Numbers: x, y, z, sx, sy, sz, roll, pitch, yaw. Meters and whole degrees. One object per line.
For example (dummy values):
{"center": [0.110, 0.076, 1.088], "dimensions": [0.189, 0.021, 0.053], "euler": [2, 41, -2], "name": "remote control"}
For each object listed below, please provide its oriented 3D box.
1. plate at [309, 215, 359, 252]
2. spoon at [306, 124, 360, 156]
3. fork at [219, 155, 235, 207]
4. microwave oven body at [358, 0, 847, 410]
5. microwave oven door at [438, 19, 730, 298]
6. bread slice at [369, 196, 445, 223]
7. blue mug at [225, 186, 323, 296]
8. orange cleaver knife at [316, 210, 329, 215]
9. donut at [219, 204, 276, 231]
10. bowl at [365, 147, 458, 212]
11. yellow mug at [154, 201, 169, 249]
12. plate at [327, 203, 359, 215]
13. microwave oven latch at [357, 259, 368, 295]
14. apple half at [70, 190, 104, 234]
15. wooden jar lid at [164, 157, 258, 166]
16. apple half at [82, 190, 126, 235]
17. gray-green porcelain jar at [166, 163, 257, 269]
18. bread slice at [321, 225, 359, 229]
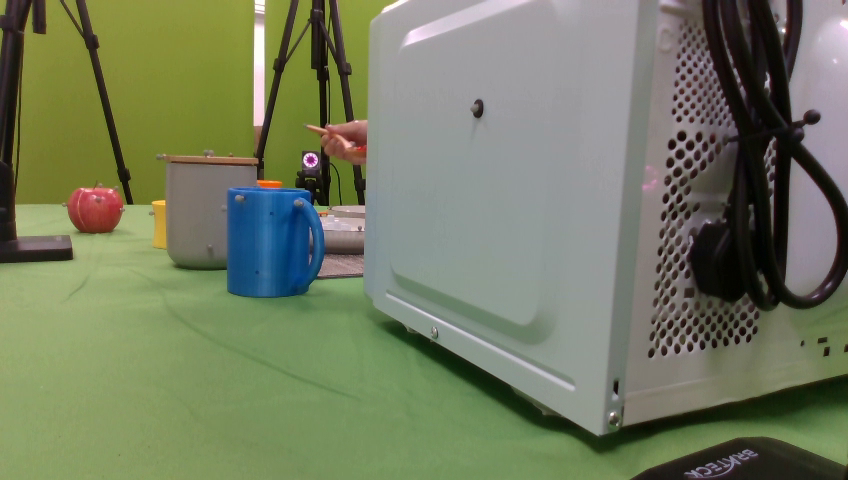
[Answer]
{"center": [-0.130, -0.011, 0.945], "dimensions": [0.208, 0.039, 0.207], "euler": [2, 8, 0], "name": "plate"}
{"center": [-0.146, -0.172, 1.018], "dimensions": [0.042, 0.021, 0.192], "euler": [-1, 24, -42], "name": "spoon"}
{"center": [-0.459, -0.134, 1.415], "dimensions": [0.028, 0.018, 0.207], "euler": [-1, -34, -25], "name": "fork"}
{"center": [0.210, -0.051, 0.471], "dimensions": [0.444, 0.260, 0.324], "euler": [-1, 7, -28], "name": "microwave oven body"}
{"center": [0.181, -0.076, 0.618], "dimensions": [0.358, 0.243, 0.039], "euler": [-2, 8, -28], "name": "microwave oven door"}
{"center": [-0.040, -0.057, 1.142], "dimensions": [0.107, 0.018, 0.133], "euler": [-9, -8, -40], "name": "bread slice"}
{"center": [-0.148, 0.000, 0.618], "dimensions": [0.116, 0.106, 0.083], "euler": [7, 9, 33], "name": "blue mug"}
{"center": [-0.259, -0.064, 1.423], "dimensions": [0.212, 0.012, 0.077], "euler": [-4, 3, -30], "name": "orange cleaver knife"}
{"center": [-0.316, -0.039, 1.083], "dimensions": [0.099, 0.048, 0.099], "euler": [2, 7, 0], "name": "donut"}
{"center": [-0.013, -0.090, 0.969], "dimensions": [0.151, 0.076, 0.151], "euler": [-12, -3, 0], "name": "bowl"}
{"center": [-0.337, -0.022, 0.899], "dimensions": [0.130, 0.064, 0.100], "euler": [8, 9, 34], "name": "yellow mug"}
{"center": [-0.102, -0.053, 1.299], "dimensions": [0.209, 0.038, 0.209], "euler": [2, 8, 0], "name": "plate"}
{"center": [-0.019, 0.031, 0.529], "dimensions": [0.079, 0.029, 0.030], "euler": [-1, 7, -26], "name": "microwave oven latch"}
{"center": [-0.552, -0.047, 1.010], "dimensions": [0.053, 0.074, 0.081], "euler": [-1, 9, 26], "name": "apple half"}
{"center": [-0.261, -0.093, 0.746], "dimensions": [0.108, 0.020, 0.108], "euler": [0, 9, 0], "name": "wooden jar lid"}
{"center": [-0.516, -0.046, 0.994], "dimensions": [0.032, 0.081, 0.081], "euler": [0, 6, 26], "name": "apple half"}
{"center": [-0.263, -0.031, 0.754], "dimensions": [0.106, 0.126, 0.106], "euler": [2, 7, 0], "name": "gray-green porcelain jar"}
{"center": [-0.124, -0.009, 0.938], "dimensions": [0.131, 0.019, 0.105], "euler": [5, 9, 33], "name": "bread slice"}
